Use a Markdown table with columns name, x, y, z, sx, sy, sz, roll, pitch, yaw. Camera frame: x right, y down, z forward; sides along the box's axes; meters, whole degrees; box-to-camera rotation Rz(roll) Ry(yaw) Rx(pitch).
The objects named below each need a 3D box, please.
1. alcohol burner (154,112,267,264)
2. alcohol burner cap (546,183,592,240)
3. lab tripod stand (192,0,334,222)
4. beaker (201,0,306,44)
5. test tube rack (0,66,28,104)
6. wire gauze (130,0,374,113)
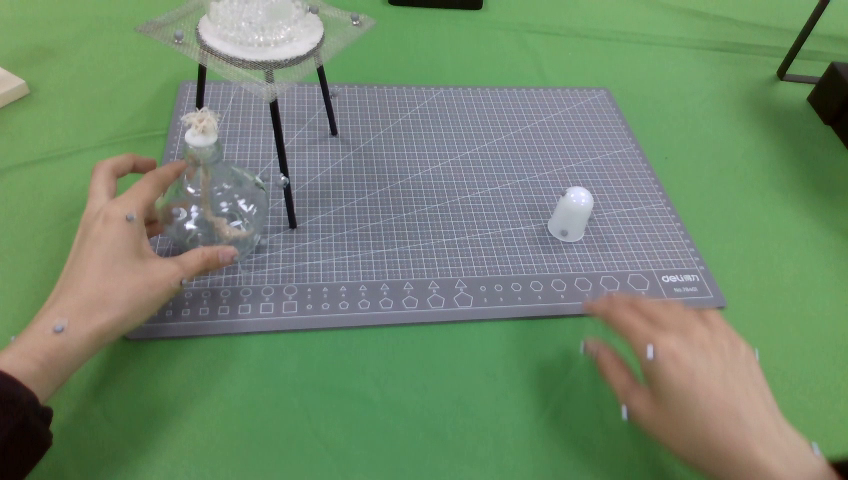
| name | x | y | z | sx | sy | sz | roll | pitch | yaw |
| --- | --- | --- | --- | --- | --- | --- | --- | --- | --- |
| alcohol burner | -0.152 | -0.040 | 0.428 | 0.078 | 0.120 | 0.077 | 5 | 46 | -5 |
| alcohol burner cap | 0.123 | -0.026 | 0.506 | 0.034 | 0.048 | 0.033 | 4 | 48 | -4 |
| lab tripod stand | -0.123 | -0.109 | 0.480 | 0.149 | 0.132 | 0.147 | 6 | 49 | -6 |
| beaker | -0.117 | -0.188 | 0.397 | 0.073 | 0.101 | 0.084 | 36 | 55 | 20 |
| test tube rack | -0.452 | -0.109 | 0.466 | 0.066 | 0.086 | 0.241 | 28 | 51 | 16 |
| wire gauze | -0.118 | -0.151 | 0.431 | 0.124 | 0.011 | 0.121 | 31 | 54 | 13 |
